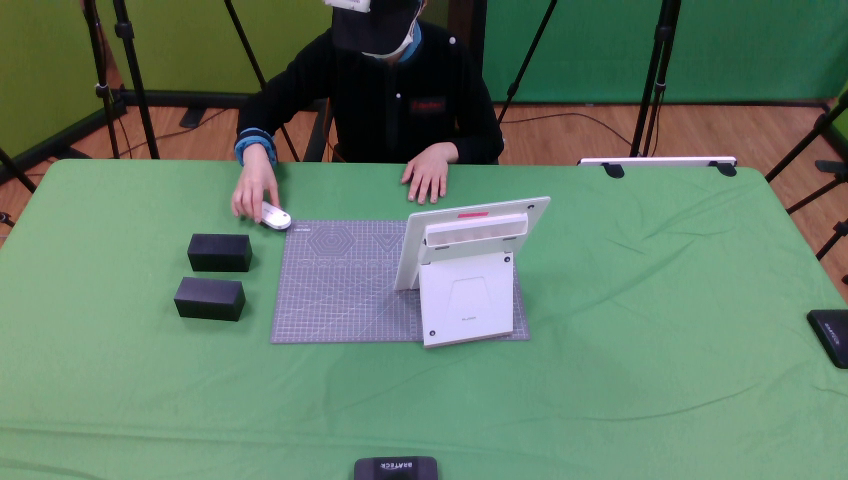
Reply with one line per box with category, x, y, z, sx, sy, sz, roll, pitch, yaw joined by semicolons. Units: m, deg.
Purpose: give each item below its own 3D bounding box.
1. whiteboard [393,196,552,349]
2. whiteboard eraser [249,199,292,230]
whiteboard;0.077;0.071;0.977;0.217;0.306;0.143;-7;66;-11
whiteboard eraser;-0.309;-0.052;1.216;0.101;0.019;0.041;30;47;25
